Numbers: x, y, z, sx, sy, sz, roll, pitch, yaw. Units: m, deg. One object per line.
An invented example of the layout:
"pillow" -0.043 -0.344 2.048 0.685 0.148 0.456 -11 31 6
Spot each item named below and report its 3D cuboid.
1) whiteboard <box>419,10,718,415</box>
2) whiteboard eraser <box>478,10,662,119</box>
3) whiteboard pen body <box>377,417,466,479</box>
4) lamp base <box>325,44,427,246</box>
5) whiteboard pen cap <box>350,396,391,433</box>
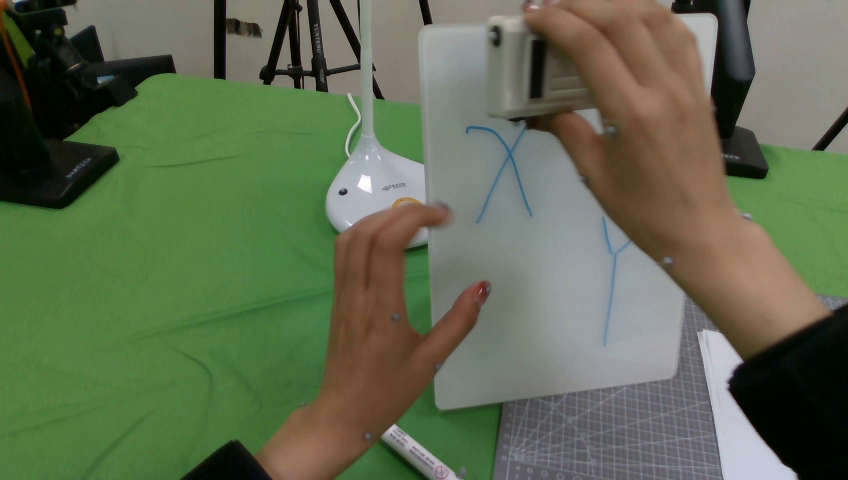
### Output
"whiteboard" 0.100 -0.031 0.526 0.217 0.307 0.142 -5 21 -7
"whiteboard eraser" 0.085 -0.106 0.362 0.113 0.056 0.041 -10 27 -18
"whiteboard pen body" 0.000 0.167 0.462 0.139 0.017 0.017 29 47 31
"lamp base" -0.041 -0.112 0.671 0.161 0.182 0.177 -24 44 -28
"whiteboard pen cap" -0.043 0.142 0.491 0.033 0.018 0.018 28 46 33
